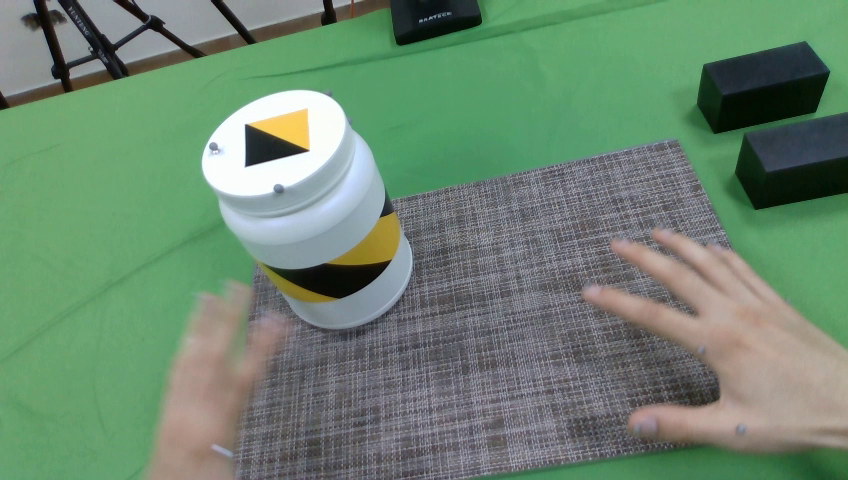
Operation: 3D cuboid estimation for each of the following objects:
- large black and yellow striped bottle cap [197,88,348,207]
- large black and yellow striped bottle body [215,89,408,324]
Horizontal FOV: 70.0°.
[{"bbox_3d":[-0.115,-0.074,0.460,0.115,0.019,0.114,-7,52,9],"label":"large black and yellow striped bottle cap"},{"bbox_3d":[-0.096,-0.024,0.525,0.130,0.186,0.129,-7,52,10],"label":"large black and yellow striped bottle body"}]
